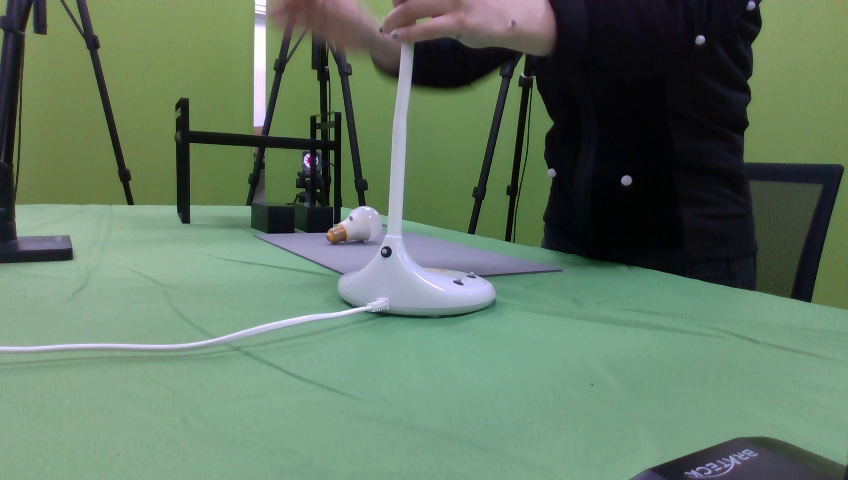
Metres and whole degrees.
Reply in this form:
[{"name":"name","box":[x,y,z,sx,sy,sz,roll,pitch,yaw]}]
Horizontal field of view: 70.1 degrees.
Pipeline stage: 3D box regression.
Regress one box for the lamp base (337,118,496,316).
[{"name":"lamp base","box":[-0.008,-0.026,0.589,0.160,0.180,0.179,4,10,15]}]

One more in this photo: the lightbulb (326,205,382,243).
[{"name":"lightbulb","box":[-0.117,-0.021,0.999,0.059,0.059,0.108,10,25,43]}]
